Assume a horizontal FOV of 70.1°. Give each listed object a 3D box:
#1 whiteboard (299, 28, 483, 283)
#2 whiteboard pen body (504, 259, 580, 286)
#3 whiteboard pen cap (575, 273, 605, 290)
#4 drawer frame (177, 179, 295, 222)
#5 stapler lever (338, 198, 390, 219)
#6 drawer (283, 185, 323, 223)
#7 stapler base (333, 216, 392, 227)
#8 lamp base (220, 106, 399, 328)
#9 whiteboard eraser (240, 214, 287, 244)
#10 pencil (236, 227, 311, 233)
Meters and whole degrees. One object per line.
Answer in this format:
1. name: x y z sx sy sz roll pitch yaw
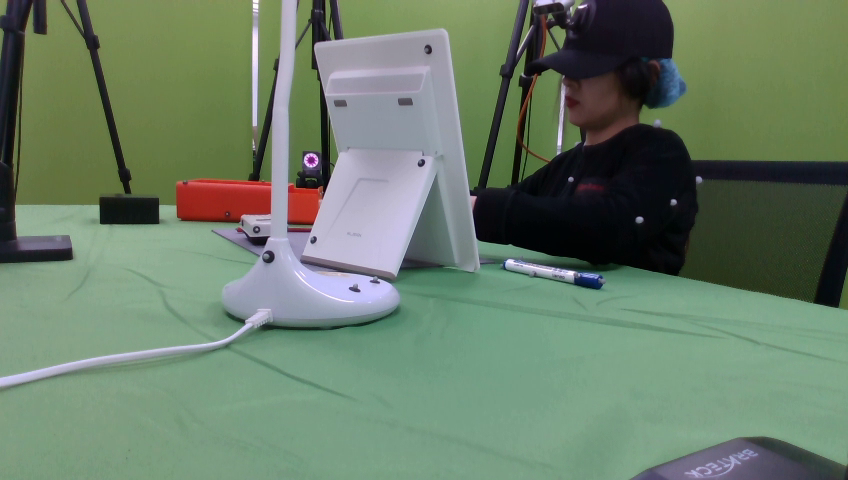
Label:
1. whiteboard: -0.075 -0.082 0.741 0.216 0.305 0.144 9 30 38
2. whiteboard pen body: 0.157 0.042 0.764 0.017 0.017 0.140 -4 11 -41
3. whiteboard pen cap: 0.197 0.047 0.719 0.018 0.018 0.033 -4 11 -41
4. drawer frame: -0.397 -0.088 1.315 0.214 0.082 0.201 1 8 -7
5. stapler lever: -0.124 -0.064 1.249 0.119 0.040 0.026 0 7 -42
6. drawer: -0.329 -0.085 1.326 0.212 0.073 0.194 1 8 -7
7. stapler base: -0.126 -0.039 1.249 0.131 0.024 0.041 0 8 -42
8. lamp base: -0.101 -0.023 0.531 0.160 0.180 0.179 4 10 10
9. whiteboard eraser: -0.256 -0.018 0.958 0.056 0.042 0.112 0 8 -25
10. pencil: -0.239 -0.017 1.092 0.195 0.012 0.012 1 7 -27
